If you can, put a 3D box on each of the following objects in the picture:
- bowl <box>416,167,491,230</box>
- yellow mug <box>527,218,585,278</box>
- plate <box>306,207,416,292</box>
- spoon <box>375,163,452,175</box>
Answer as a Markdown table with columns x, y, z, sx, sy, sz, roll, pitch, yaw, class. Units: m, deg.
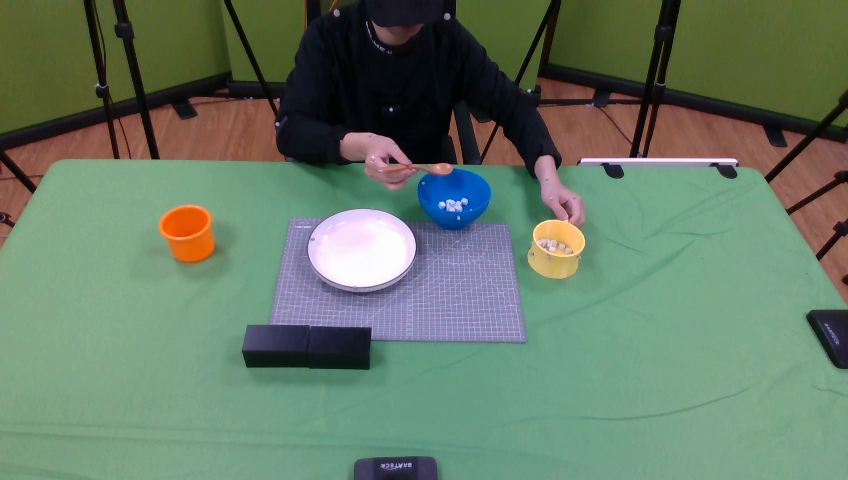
| x | y | z | sx | sy | sz | roll | pitch | yaw | class |
| --- | --- | --- | --- | --- | --- | --- | --- | --- | --- |
| 0.056 | -0.074 | 1.231 | 0.151 | 0.077 | 0.150 | 2 | 42 | -2 | bowl |
| 0.261 | 0.006 | 1.181 | 0.100 | 0.064 | 0.130 | 19 | 47 | 14 | yellow mug |
| -0.119 | 0.021 | 1.153 | 0.209 | 0.038 | 0.208 | 2 | 46 | -2 | plate |
| -0.019 | -0.138 | 1.158 | 0.194 | 0.022 | 0.041 | -4 | 35 | -46 | spoon |
